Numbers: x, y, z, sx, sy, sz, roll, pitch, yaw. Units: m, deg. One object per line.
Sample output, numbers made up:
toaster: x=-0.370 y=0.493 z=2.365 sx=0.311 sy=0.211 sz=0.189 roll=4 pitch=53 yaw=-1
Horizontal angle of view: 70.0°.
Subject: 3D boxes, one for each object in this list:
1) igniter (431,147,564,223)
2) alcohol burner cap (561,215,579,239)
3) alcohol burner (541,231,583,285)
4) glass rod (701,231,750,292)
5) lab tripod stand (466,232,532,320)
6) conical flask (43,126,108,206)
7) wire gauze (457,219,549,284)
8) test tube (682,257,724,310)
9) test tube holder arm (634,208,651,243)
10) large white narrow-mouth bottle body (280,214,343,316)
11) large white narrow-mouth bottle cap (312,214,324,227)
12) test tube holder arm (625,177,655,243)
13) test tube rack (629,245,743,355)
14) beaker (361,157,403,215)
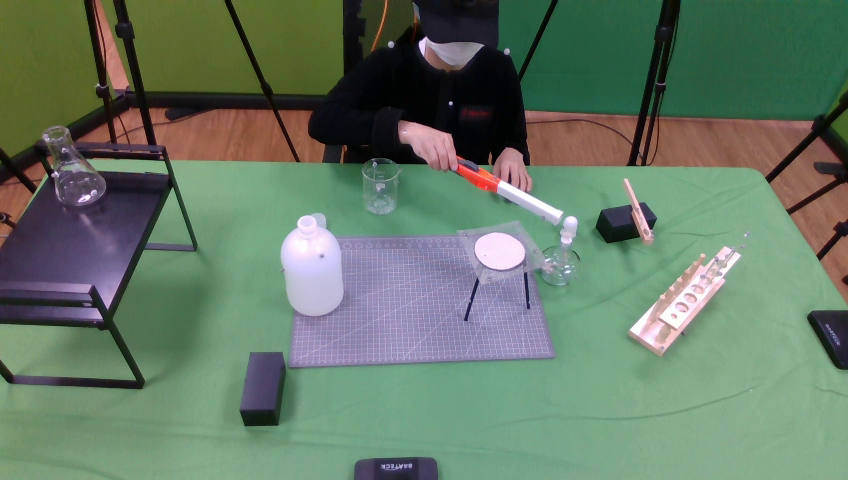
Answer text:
igniter: x=0.130 y=-0.106 z=1.116 sx=0.275 sy=0.057 sz=0.025 roll=29 pitch=66 yaw=18
alcohol burner cap: x=0.299 y=-0.030 z=1.231 sx=0.034 sy=0.048 sz=0.033 roll=1 pitch=46 yaw=-1
alcohol burner: x=0.258 y=0.028 z=1.123 sx=0.078 sy=0.120 sz=0.077 roll=1 pitch=48 yaw=-1
glass rod: x=0.519 y=0.045 z=1.050 sx=0.008 sy=0.201 sz=0.008 roll=0 pitch=55 yaw=0
lab tripod stand: x=0.125 y=0.060 z=1.065 sx=0.148 sy=0.132 sz=0.147 roll=1 pitch=45 yaw=0
conical flask: x=-0.555 y=-0.119 z=0.953 sx=0.075 sy=0.122 sz=0.075 roll=2 pitch=46 yaw=-2
wire gauze: x=0.131 y=0.014 z=1.016 sx=0.121 sy=0.011 sz=0.124 roll=-12 pitch=46 yaw=-14
test tube: x=0.475 y=0.080 z=1.037 sx=0.017 sy=0.151 sz=0.017 roll=2 pitch=51 yaw=-2
test tube holder arm: x=0.428 y=-0.030 z=1.189 sx=0.010 sy=0.015 sz=0.087 roll=1 pitch=47 yaw=-2
large white narrow-mouth bottle body: x=-0.190 y=0.035 z=1.025 sx=0.102 sy=0.195 sz=0.101 roll=2 pitch=46 yaw=-2
large white narrow-mouth bottle cap: x=-0.219 y=-0.033 z=1.214 sx=0.038 sy=0.024 sz=0.037 roll=2 pitch=46 yaw=-2
test tube holder arm: x=0.433 y=-0.063 z=1.220 sx=0.013 sy=0.015 sz=0.177 roll=1 pitch=47 yaw=-3
test tube rack: x=0.474 y=0.095 z=1.091 sx=0.242 sy=0.085 sz=0.066 roll=-34 pitch=56 yaw=-31
beaker: x=-0.086 y=-0.108 z=1.241 sx=0.084 sy=0.101 sz=0.073 roll=-8 pitch=48 yaw=-13
